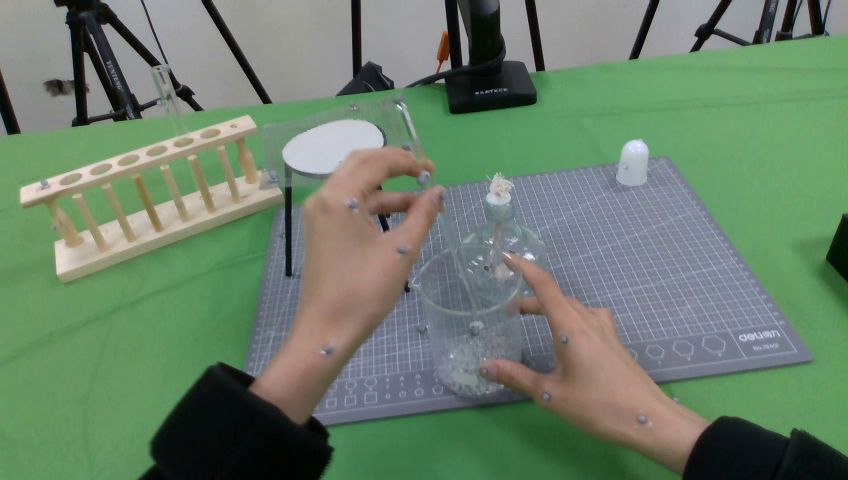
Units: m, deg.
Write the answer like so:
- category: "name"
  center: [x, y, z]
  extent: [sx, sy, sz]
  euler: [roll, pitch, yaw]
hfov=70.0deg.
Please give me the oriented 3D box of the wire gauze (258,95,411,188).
- category: "wire gauze"
  center: [-0.081, -0.085, 0.519]
  extent: [0.125, 0.011, 0.120]
  euler: [-11, 40, -3]

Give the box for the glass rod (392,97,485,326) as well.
- category: "glass rod"
  center: [0.014, -0.007, 0.401]
  extent: [0.008, 0.202, 0.008]
  euler: [-13, 40, 12]

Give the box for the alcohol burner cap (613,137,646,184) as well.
- category: "alcohol burner cap"
  center: [0.222, -0.088, 0.651]
  extent: [0.034, 0.048, 0.033]
  euler: [-4, 40, 4]

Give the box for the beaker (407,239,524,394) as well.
- category: "beaker"
  center: [0.034, 0.061, 0.458]
  extent: [0.084, 0.101, 0.073]
  euler: [-2, 39, 8]

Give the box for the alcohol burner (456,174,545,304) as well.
- category: "alcohol burner"
  center: [0.065, -0.004, 0.519]
  extent: [0.078, 0.120, 0.077]
  euler: [-5, 38, 4]

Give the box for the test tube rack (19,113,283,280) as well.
- category: "test tube rack"
  center: [-0.288, -0.052, 0.659]
  extent: [0.243, 0.086, 0.066]
  euler: [-23, 42, -18]

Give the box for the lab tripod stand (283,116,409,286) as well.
- category: "lab tripod stand"
  center: [-0.073, -0.034, 0.562]
  extent: [0.148, 0.133, 0.147]
  euler: [-5, 42, 5]

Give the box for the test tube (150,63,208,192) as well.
- category: "test tube"
  center: [-0.262, -0.117, 0.656]
  extent: [0.017, 0.151, 0.017]
  euler: [-4, 37, 3]
